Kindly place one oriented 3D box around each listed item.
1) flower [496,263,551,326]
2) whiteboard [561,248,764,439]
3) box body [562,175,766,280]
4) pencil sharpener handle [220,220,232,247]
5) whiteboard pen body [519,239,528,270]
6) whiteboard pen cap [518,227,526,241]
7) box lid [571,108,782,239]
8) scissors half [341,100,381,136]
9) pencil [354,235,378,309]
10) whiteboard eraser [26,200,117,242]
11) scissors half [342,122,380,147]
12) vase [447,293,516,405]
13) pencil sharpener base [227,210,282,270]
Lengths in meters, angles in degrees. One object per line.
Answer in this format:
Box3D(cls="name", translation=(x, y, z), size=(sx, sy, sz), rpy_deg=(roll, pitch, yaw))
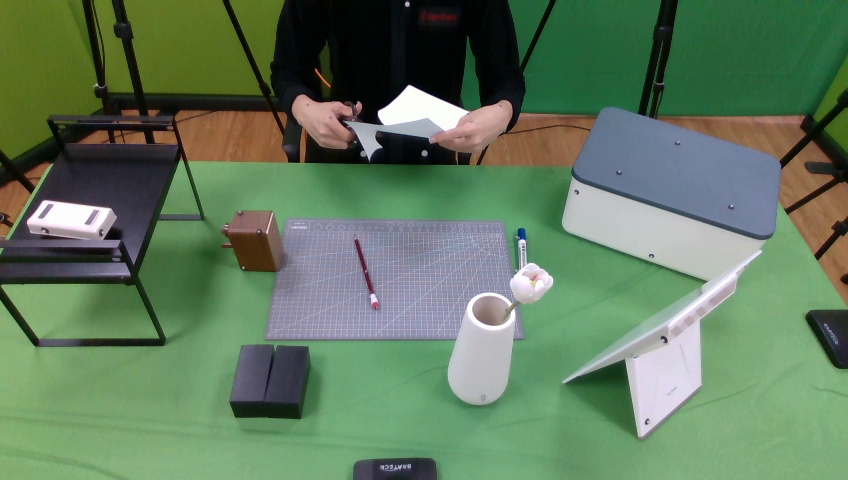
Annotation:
Box3D(cls="flower", translation=(0.102, 0.121, 0.853), size=(0.044, 0.363, 0.038), rpy_deg=(-2, 64, -10))
Box3D(cls="whiteboard", translation=(0.386, 0.176, 0.905), size=(0.217, 0.306, 0.143), rpy_deg=(-26, 72, -27))
Box3D(cls="box body", translation=(0.486, -0.088, 1.222), size=(0.363, 0.161, 0.253), rpy_deg=(20, 48, 15))
Box3D(cls="pencil sharpener handle", translation=(-0.362, -0.009, 1.105), size=(0.030, 0.068, 0.036), rpy_deg=(1, 52, 1))
Box3D(cls="whiteboard pen body", translation=(0.193, 0.035, 1.180), size=(0.017, 0.017, 0.140), rpy_deg=(6, 48, 1))
Box3D(cls="whiteboard pen cap", translation=(0.197, -0.009, 1.220), size=(0.018, 0.018, 0.033), rpy_deg=(5, 51, 1))
Box3D(cls="box lid", translation=(0.491, -0.139, 1.168), size=(0.370, 0.015, 0.262), rpy_deg=(21, 49, 15))
Box3D(cls="scissors half", translation=(-0.111, -0.209, 1.052), size=(0.013, 0.040, 0.174), rpy_deg=(-11, 31, -25))
Box3D(cls="pencil", translation=(-0.112, 0.055, 1.143), size=(0.012, 0.012, 0.192), rpy_deg=(-10, 46, -13))
Box3D(cls="whiteboard eraser", translation=(-0.532, -0.026, 0.919), size=(0.113, 0.042, 0.055), rpy_deg=(7, 45, 3))
Box3D(cls="scissors half", translation=(-0.111, -0.187, 1.058), size=(0.013, 0.040, 0.174), rpy_deg=(-5, 4, -26))
Box3D(cls="vase", translation=(0.091, 0.169, 0.921), size=(0.098, 0.201, 0.097), rpy_deg=(3, 47, -3))
Box3D(cls="pencil sharpener base", translation=(-0.311, 0.001, 1.112), size=(0.077, 0.107, 0.061), rpy_deg=(1, 47, 1))
